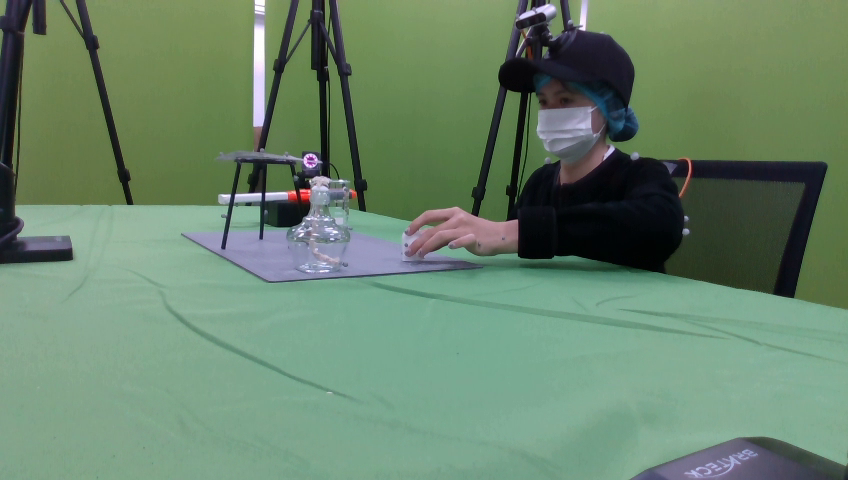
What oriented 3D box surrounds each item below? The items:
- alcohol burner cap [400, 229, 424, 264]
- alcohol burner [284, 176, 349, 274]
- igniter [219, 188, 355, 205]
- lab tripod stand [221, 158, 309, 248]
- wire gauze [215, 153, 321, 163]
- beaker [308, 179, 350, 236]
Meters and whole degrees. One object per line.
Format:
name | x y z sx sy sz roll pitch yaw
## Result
alcohol burner cap | -0.018 0.008 0.838 0.034 0.048 0.034 -3 3 1
alcohol burner | -0.130 -0.019 0.738 0.078 0.119 0.078 4 5 0
igniter | -0.274 -0.089 1.238 0.278 0.025 0.057 -6 12 -30
lab tripod stand | -0.244 -0.057 0.917 0.148 0.131 0.148 1 7 0
wire gauze | -0.235 -0.123 0.906 0.126 0.011 0.121 -2 7 -33
beaker | -0.176 -0.060 1.104 0.073 0.100 0.084 8 10 39
